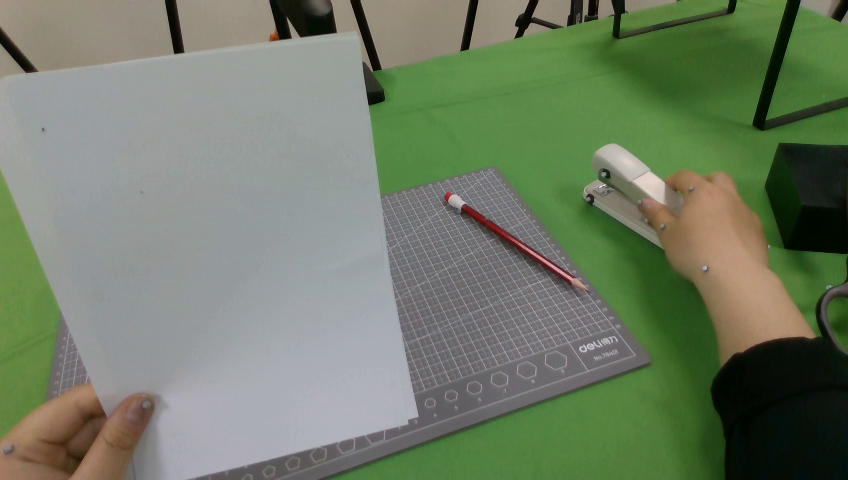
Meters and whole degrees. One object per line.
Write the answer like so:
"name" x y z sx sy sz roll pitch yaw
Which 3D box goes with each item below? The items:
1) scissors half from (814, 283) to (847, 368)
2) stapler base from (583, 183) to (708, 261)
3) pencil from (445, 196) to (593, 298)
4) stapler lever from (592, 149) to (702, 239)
"scissors half" 0.339 0.018 0.481 0.040 0.013 0.174 10 65 27
"stapler base" 0.207 -0.028 0.579 0.041 0.025 0.129 -30 44 -14
"pencil" 0.083 0.003 0.570 0.012 0.012 0.192 -30 46 -25
"stapler lever" 0.203 -0.046 0.562 0.027 0.040 0.116 -31 44 -14
